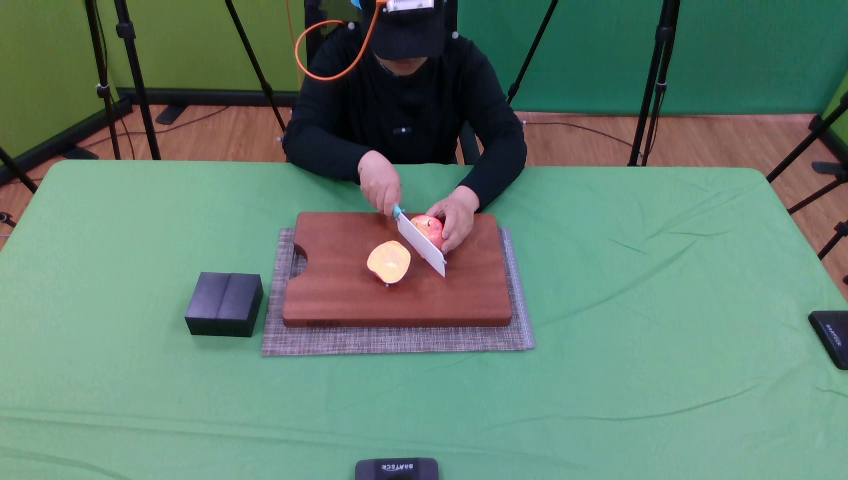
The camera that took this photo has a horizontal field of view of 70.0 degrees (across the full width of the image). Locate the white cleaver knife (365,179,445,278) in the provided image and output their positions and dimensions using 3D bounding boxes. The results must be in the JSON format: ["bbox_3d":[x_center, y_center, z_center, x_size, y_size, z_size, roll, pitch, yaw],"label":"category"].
[{"bbox_3d":[-0.041,-0.026,1.152,0.021,0.066,0.284,-20,46,-24],"label":"white cleaver knife"}]

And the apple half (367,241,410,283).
[{"bbox_3d":[-0.059,0.043,1.100,0.081,0.033,0.081,-3,67,8],"label":"apple half"}]

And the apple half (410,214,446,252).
[{"bbox_3d":[0.012,-0.008,1.133,0.053,0.075,0.080,-19,46,-26],"label":"apple half"}]
